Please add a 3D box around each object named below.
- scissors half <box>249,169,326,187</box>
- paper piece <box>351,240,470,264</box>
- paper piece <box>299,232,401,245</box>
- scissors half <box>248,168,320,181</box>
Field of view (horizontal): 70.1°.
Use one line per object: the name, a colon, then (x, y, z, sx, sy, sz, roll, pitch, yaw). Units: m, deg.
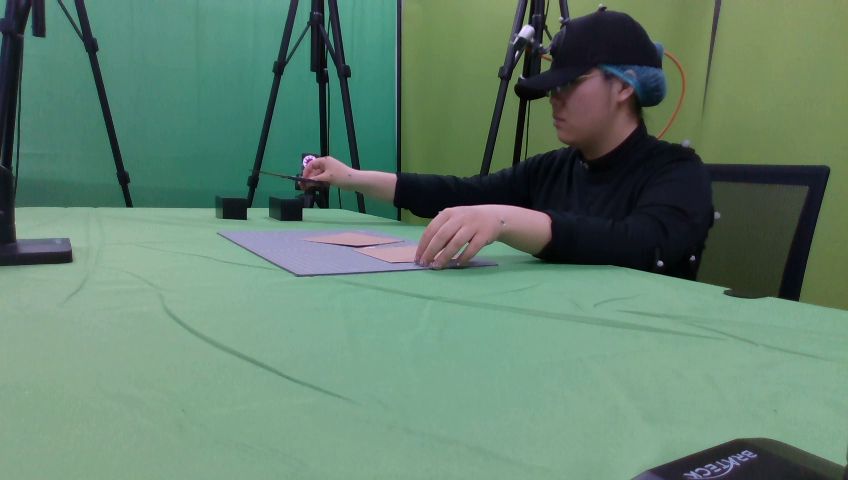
scissors half: (-0.302, -0.140, 1.347, 0.176, 0.013, 0.040, 10, 5, -23)
paper piece: (-0.023, 0.019, 0.916, 0.137, 0.008, 0.137, -7, 13, -31)
paper piece: (-0.127, -0.003, 1.052, 0.135, 0.004, 0.136, 7, 8, 32)
scissors half: (-0.311, -0.145, 1.364, 0.176, 0.013, 0.040, 8, 11, -39)
